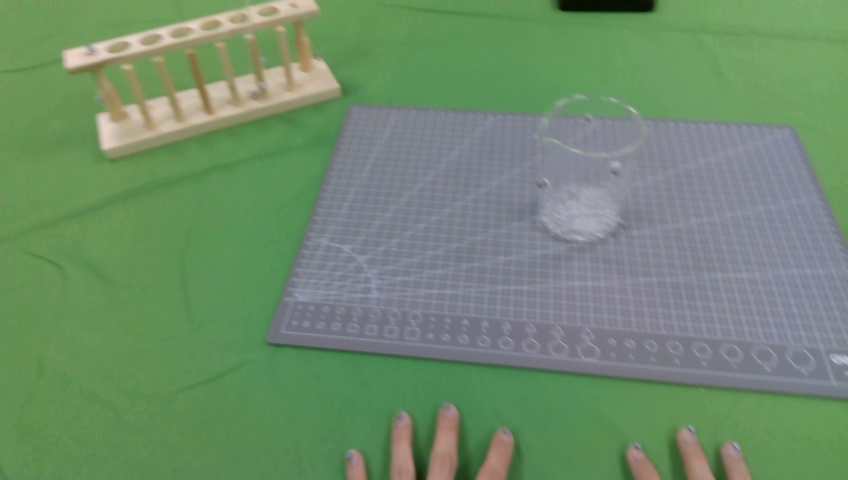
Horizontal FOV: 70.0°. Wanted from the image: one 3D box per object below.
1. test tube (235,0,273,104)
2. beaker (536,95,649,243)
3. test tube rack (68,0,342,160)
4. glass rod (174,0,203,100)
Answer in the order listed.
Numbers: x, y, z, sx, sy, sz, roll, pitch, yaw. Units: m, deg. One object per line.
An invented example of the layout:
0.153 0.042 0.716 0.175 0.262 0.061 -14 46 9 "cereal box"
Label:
-0.167 -0.199 0.583 0.017 0.151 0.017 0 45 0 "test tube"
0.127 -0.053 0.488 0.084 0.101 0.073 -9 48 -5 "beaker"
-0.213 -0.167 0.617 0.243 0.086 0.066 -19 50 -15 "test tube rack"
-0.236 -0.226 0.581 0.008 0.201 0.008 0 41 0 "glass rod"
